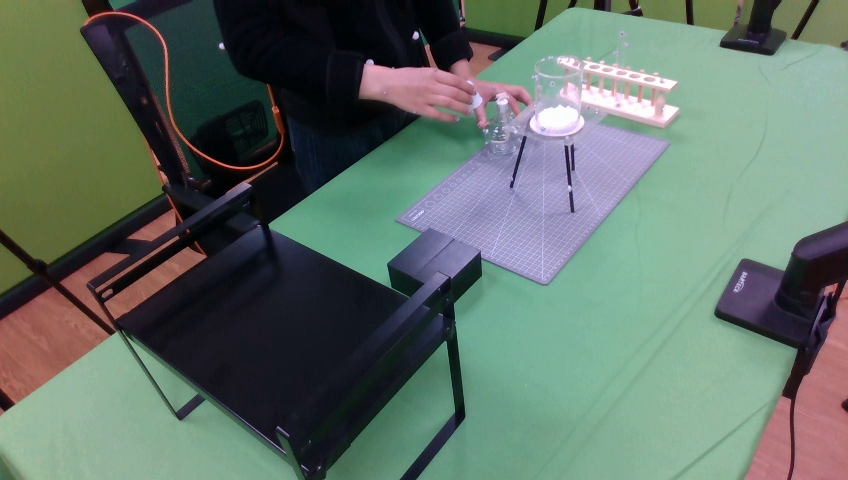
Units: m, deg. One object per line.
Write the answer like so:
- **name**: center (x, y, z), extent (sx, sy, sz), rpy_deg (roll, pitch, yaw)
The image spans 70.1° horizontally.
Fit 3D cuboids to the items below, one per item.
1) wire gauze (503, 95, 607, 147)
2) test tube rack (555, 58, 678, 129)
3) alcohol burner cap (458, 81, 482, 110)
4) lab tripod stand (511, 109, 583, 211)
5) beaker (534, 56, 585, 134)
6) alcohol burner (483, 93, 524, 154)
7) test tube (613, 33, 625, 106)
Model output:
- **wire gauze**: center (0.211, -0.191, 0.976), extent (0.120, 0.011, 0.125), rpy_deg (24, 52, 32)
- **test tube rack**: center (0.390, -0.307, 1.229), extent (0.240, 0.085, 0.067), rpy_deg (25, 50, 33)
- **alcohol burner cap**: center (0.075, -0.247, 1.022), extent (0.034, 0.048, 0.033), rpy_deg (-16, 47, 18)
- **lab tripod stand**: center (0.220, -0.138, 1.014), extent (0.148, 0.132, 0.147), rpy_deg (-3, 41, 3)
- **beaker**: center (0.209, -0.226, 0.942), extent (0.074, 0.101, 0.083), rpy_deg (-2, 41, 7)
- **alcohol burner**: center (0.149, -0.223, 1.141), extent (0.078, 0.119, 0.077), rpy_deg (-5, 42, 5)
- **test tube**: center (0.380, -0.330, 1.180), extent (0.017, 0.151, 0.017), rpy_deg (-7, 41, 6)
